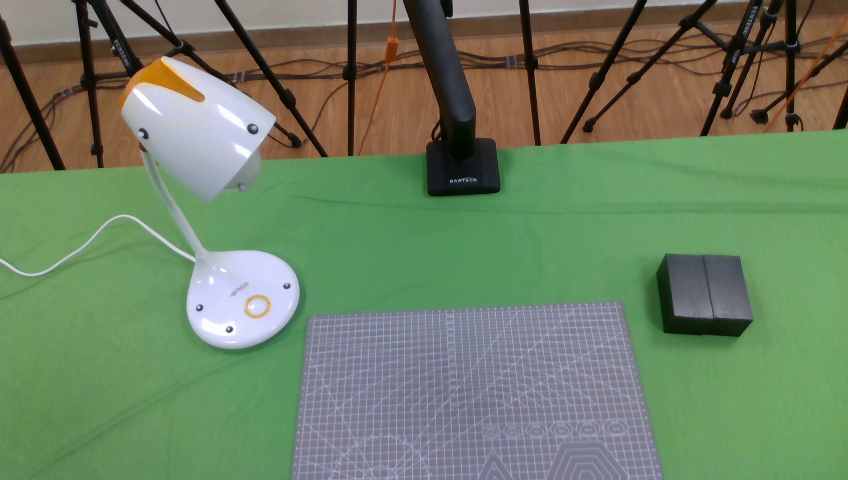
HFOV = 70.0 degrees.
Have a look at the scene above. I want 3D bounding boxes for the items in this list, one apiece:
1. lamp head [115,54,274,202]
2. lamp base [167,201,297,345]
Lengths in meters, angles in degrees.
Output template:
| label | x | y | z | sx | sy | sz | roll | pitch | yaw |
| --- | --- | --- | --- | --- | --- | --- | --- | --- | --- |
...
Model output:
| label | x | y | z | sx | sy | sz | roll | pitch | yaw |
| --- | --- | --- | --- | --- | --- | --- | --- | --- | --- |
| lamp head | -0.225 | -0.113 | 0.578 | 0.124 | 0.112 | 0.112 | 36 | 57 | -19 |
| lamp base | -0.280 | 0.032 | 0.824 | 0.178 | 0.182 | 0.160 | 26 | 61 | 23 |
